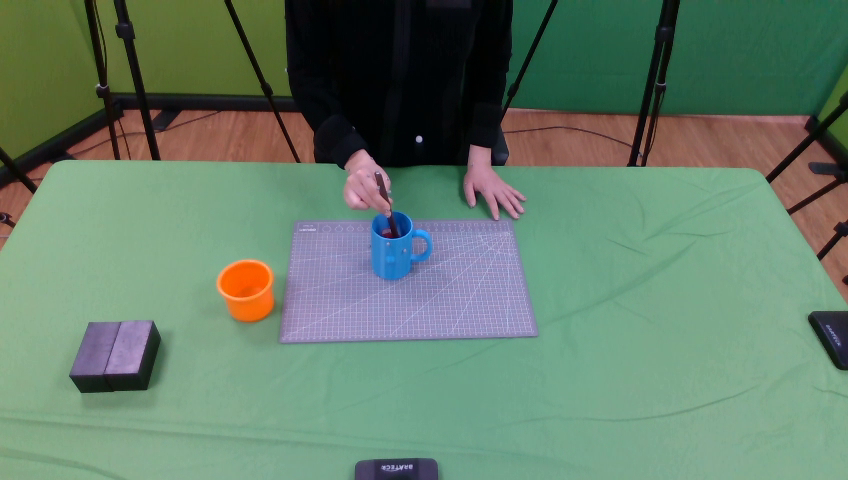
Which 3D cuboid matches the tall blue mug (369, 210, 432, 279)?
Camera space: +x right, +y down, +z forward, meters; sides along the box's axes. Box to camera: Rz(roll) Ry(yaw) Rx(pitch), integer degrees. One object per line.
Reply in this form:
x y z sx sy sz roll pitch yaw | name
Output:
-0.048 0.005 1.125 0.107 0.108 0.077 -19 50 -21 | tall blue mug

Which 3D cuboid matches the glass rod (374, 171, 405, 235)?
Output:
-0.056 -0.054 1.071 0.008 0.201 0.008 -8 53 11 | glass rod
